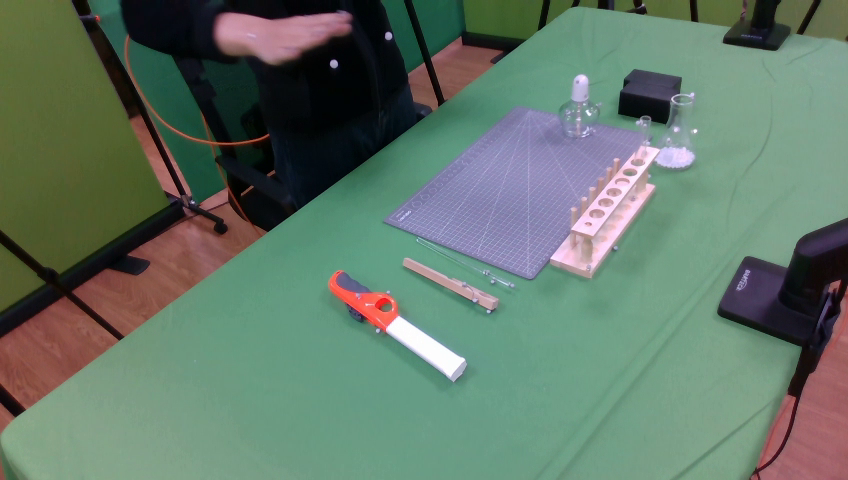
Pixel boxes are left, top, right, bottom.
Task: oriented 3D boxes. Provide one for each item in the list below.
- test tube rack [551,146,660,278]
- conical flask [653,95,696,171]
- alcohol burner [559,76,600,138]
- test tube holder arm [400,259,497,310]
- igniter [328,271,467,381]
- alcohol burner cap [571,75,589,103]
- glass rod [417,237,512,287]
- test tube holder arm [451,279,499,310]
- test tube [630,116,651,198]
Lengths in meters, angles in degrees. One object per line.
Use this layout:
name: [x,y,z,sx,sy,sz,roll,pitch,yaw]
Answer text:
test tube rack: [0.286,-0.053,0.943,0.066,0.085,0.243,21,49,32]
conical flask: [0.437,-0.187,1.043,0.075,0.122,0.075,-6,40,5]
alcohol burner: [0.298,-0.258,1.156,0.078,0.119,0.077,-4,39,4]
test tube holder arm: [0.033,0.064,0.902,0.177,0.015,0.013,23,13,32]
igniter: [-0.049,0.114,0.854,0.274,0.025,0.057,29,63,37]
alcohol burner cap: [0.294,-0.284,1.132,0.034,0.048,0.033,-5,46,5]
glass rod: [0.059,0.032,0.945,0.198,0.008,0.008,26,52,38]
test tube holder arm: [0.071,0.079,0.883,0.087,0.015,0.010,23,14,34]
test tube: [0.336,-0.125,0.941,0.017,0.151,0.017,-5,43,5]
